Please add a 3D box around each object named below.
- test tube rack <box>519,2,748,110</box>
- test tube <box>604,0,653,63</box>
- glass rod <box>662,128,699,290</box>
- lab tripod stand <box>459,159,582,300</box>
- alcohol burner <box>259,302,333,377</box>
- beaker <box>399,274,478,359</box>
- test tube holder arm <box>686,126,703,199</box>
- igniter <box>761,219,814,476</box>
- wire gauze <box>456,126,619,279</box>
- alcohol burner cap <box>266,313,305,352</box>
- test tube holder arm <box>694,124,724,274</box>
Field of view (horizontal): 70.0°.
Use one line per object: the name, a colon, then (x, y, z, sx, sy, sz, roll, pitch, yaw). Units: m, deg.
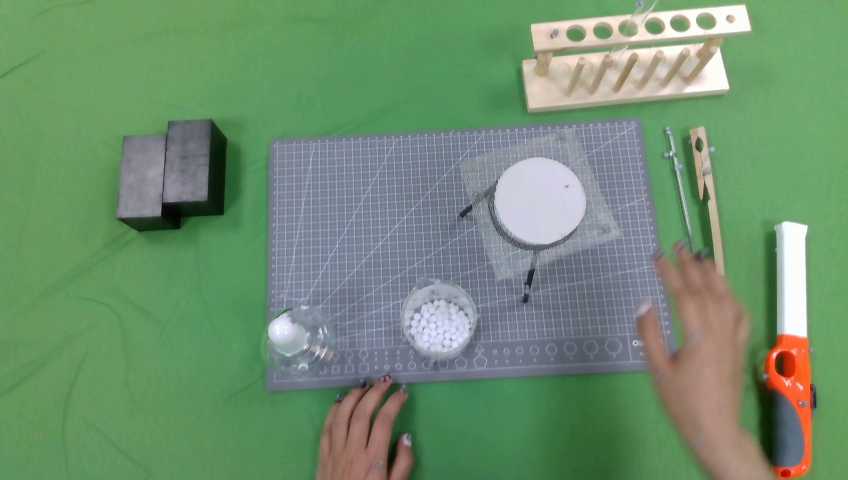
test tube rack: (0.241, -0.213, 0.711, 0.242, 0.085, 0.066, -6, 75, 0)
test tube: (0.228, -0.241, 0.667, 0.017, 0.151, 0.017, 1, 74, -3)
glass rod: (0.297, -0.040, 0.704, 0.008, 0.008, 0.198, -5, 75, 0)
lab tripod stand: (0.103, -0.020, 0.636, 0.148, 0.132, 0.147, -1, 76, 3)
alcohol burner: (-0.135, 0.099, 0.620, 0.078, 0.120, 0.077, -1, 73, 2)
beaker: (0.013, 0.083, 0.629, 0.074, 0.101, 0.083, -24, 75, -5)
test tube holder arm: (0.321, -0.092, 0.713, 0.010, 0.015, 0.087, -13, 73, 33)
igniter: (0.391, 0.111, 0.654, 0.057, 0.025, 0.275, 10, 76, -6)
wire gauze: (0.105, -0.039, 0.571, 0.121, 0.011, 0.124, -18, 76, -2)
alcohol burner cap: (-0.137, 0.087, 0.586, 0.034, 0.048, 0.033, 0, 65, 1)
test tube holder arm: (0.328, -0.049, 0.699, 0.013, 0.015, 0.177, -13, 73, 33)
